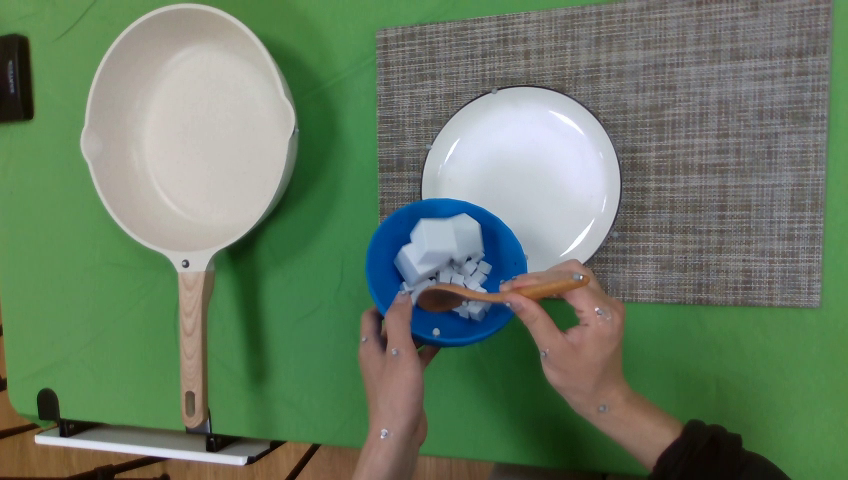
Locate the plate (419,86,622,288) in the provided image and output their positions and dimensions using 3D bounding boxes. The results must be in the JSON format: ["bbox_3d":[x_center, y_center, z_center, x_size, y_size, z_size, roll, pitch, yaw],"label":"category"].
[{"bbox_3d":[0.099,-0.053,0.632,0.207,0.039,0.208,1,94,19],"label":"plate"}]

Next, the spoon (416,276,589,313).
[{"bbox_3d":[0.059,0.047,0.508,0.193,0.042,0.021,-10,54,52],"label":"spoon"}]

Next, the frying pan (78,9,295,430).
[{"bbox_3d":[-0.279,-0.020,0.730,0.306,0.103,0.486,-2,85,20],"label":"frying pan"}]

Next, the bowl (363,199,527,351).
[{"bbox_3d":[0.016,0.044,0.578,0.151,0.077,0.150,4,59,-6],"label":"bowl"}]
